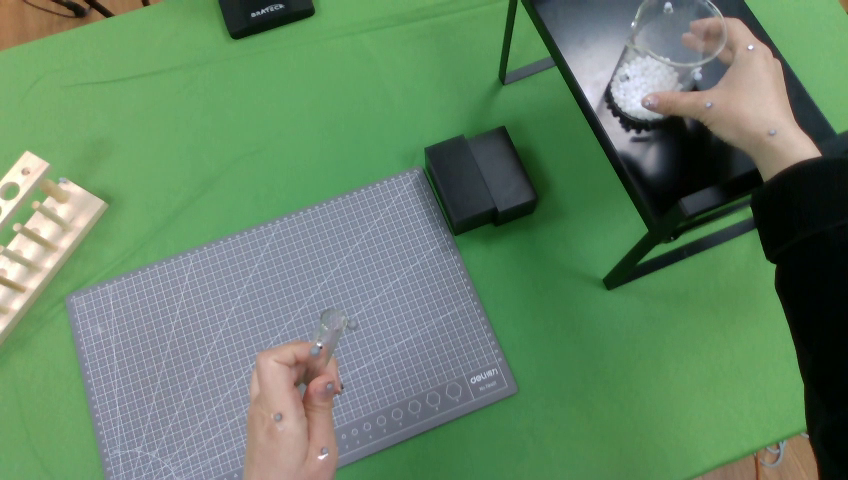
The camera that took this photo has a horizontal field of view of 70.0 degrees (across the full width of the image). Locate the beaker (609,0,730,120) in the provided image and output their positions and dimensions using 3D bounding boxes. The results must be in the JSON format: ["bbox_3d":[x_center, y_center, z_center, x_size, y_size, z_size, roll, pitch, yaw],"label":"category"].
[{"bbox_3d":[0.208,-0.158,0.537,0.084,0.101,0.073,-14,72,-3],"label":"beaker"}]

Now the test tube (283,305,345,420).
[{"bbox_3d":[-0.076,0.086,0.401,0.017,0.151,0.017,12,50,-14],"label":"test tube"}]

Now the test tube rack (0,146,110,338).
[{"bbox_3d":[-0.479,0.021,0.684,0.066,0.085,0.241,29,75,10],"label":"test tube rack"}]
